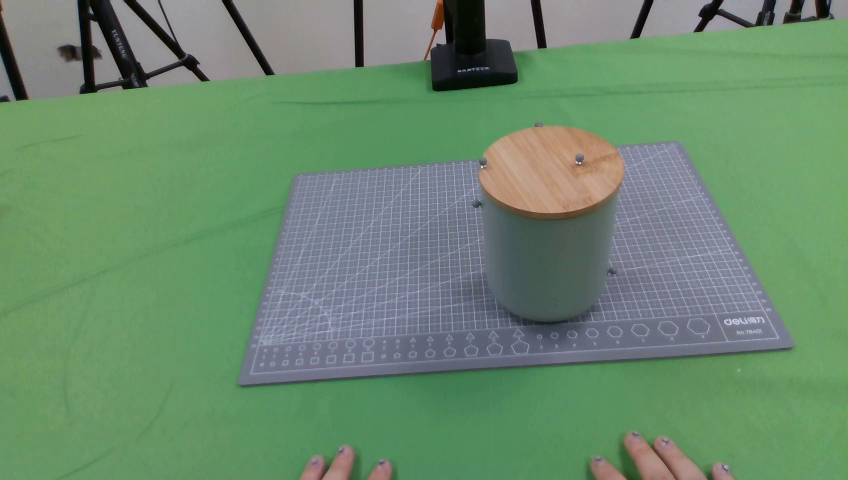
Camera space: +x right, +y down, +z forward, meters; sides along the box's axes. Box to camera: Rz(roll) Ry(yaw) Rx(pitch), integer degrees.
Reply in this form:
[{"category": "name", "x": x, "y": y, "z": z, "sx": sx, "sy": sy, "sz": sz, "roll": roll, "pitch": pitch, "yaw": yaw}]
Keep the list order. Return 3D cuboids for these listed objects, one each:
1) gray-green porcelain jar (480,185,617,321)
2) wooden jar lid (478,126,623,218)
[{"category": "gray-green porcelain jar", "x": 0.102, "y": -0.003, "z": 0.506, "sx": 0.106, "sy": 0.128, "sz": 0.105, "roll": -4, "pitch": 42, "yaw": 4}, {"category": "wooden jar lid", "x": 0.095, "y": -0.050, "z": 0.464, "sx": 0.108, "sy": 0.021, "sz": 0.107, "roll": -5, "pitch": 43, "yaw": 5}]
